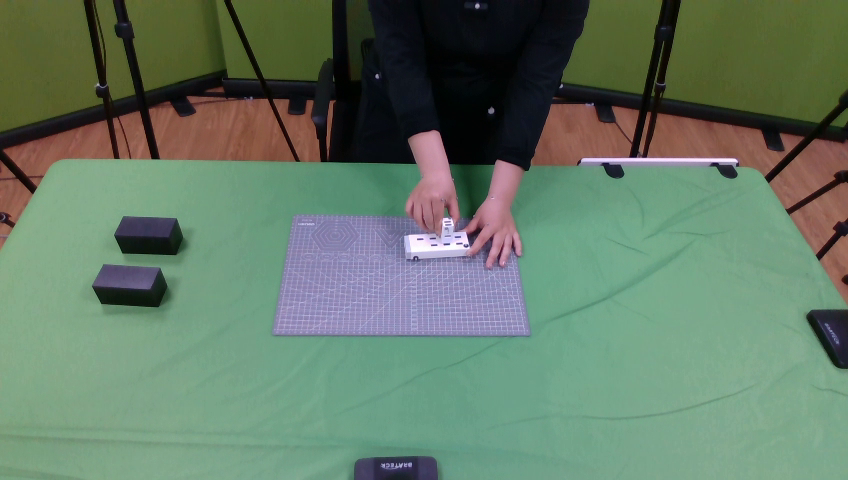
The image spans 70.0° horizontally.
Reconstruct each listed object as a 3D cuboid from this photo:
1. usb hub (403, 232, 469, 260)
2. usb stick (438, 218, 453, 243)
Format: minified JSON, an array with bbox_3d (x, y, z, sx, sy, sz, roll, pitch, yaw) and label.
[{"bbox_3d":[0.023,0.012,1.182,0.125,0.025,0.049,-3,46,-7],"label":"usb hub"},{"bbox_3d":[0.041,-0.013,1.167,0.021,0.059,0.027,-4,50,-12],"label":"usb stick"}]
